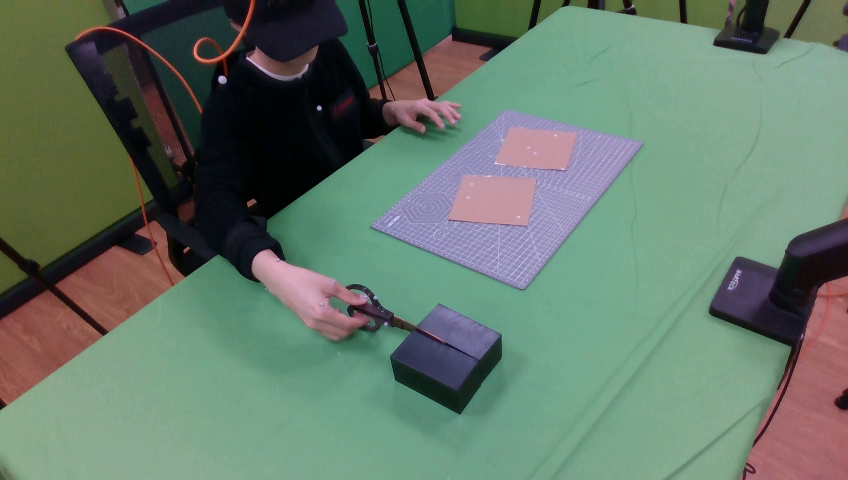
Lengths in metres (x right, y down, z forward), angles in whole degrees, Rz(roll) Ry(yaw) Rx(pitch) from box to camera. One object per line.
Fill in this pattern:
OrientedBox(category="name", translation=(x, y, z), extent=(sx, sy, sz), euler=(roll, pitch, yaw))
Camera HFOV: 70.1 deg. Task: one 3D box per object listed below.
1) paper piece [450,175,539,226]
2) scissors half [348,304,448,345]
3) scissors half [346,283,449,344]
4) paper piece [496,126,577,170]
OrientedBox(category="paper piece", translation=(0.125, -0.073, 1.051), extent=(0.135, 0.009, 0.138), euler=(3, 42, 18))
OrientedBox(category="scissors half", translation=(-0.037, 0.117, 0.813), extent=(0.174, 0.040, 0.013), euler=(10, 34, 39))
OrientedBox(category="scissors half", translation=(-0.038, 0.099, 0.803), extent=(0.174, 0.040, 0.013), euler=(26, 37, 28))
OrientedBox(category="paper piece", translation=(0.218, -0.178, 1.159), extent=(0.135, 0.004, 0.135), euler=(9, 44, 18))
